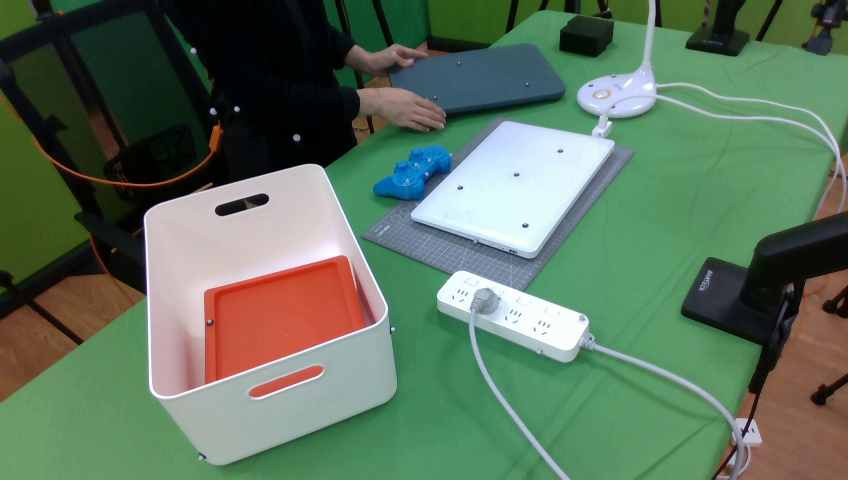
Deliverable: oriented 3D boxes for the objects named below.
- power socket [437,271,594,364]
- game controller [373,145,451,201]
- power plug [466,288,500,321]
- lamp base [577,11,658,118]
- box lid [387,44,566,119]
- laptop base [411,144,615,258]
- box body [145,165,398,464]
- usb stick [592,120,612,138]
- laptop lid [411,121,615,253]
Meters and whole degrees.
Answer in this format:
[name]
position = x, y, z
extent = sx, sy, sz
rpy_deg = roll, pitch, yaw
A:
[power socket]
position = 0.118, 0.102, 0.830
extent = 0.225, 0.033, 0.072
rpy_deg = 20, 48, 28
[game controller]
position = -0.018, -0.130, 1.111
extent = 0.096, 0.052, 0.155
rpy_deg = 22, 49, 26
[power plug]
position = 0.072, 0.093, 0.813
extent = 0.073, 0.053, 0.035
rpy_deg = -37, 49, -28
[lamp base]
position = 0.406, -0.363, 1.222
extent = 0.180, 0.181, 0.159
rpy_deg = -20, 42, -18
[box lid]
position = 0.112, -0.363, 1.366
extent = 0.372, 0.015, 0.261
rpy_deg = -9, 42, -5
[laptop base]
position = 0.167, -0.102, 1.074
extent = 0.234, 0.023, 0.355
rpy_deg = 16, 45, 30
[box body]
position = -0.205, 0.080, 0.802
extent = 0.255, 0.161, 0.361
rpy_deg = -18, 41, -13
[usb stick]
position = 0.335, -0.203, 1.149
extent = 0.021, 0.027, 0.059
rpy_deg = 25, 53, 26
[laptop lid]
position = 0.164, -0.112, 1.068
extent = 0.240, 0.013, 0.357
rpy_deg = 19, 46, 31
